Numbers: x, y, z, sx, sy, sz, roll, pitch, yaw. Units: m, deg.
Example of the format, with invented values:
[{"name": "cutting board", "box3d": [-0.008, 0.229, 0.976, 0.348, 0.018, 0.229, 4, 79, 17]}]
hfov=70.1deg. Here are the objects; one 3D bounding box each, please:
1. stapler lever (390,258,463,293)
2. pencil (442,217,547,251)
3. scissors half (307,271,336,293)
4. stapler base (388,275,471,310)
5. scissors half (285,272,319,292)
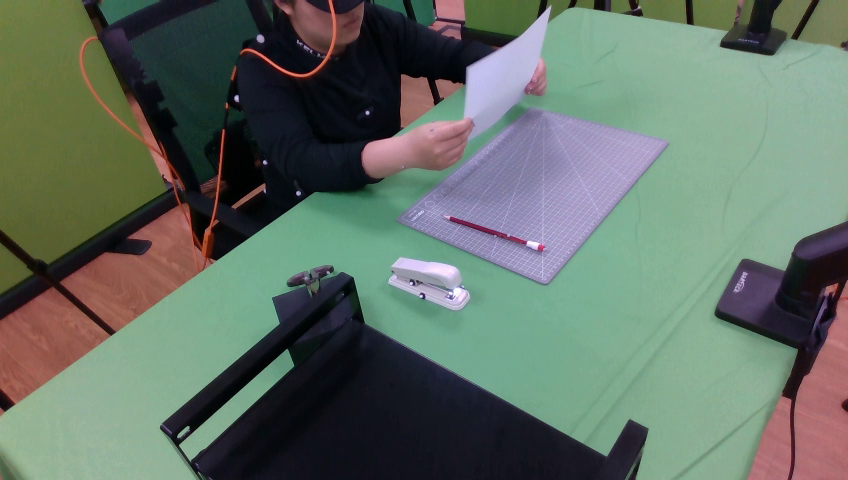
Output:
[{"name": "stapler lever", "box3d": [0.003, 0.046, 0.881, 0.117, 0.040, 0.027, 17, 43, 29]}, {"name": "pencil", "box3d": [0.110, -0.012, 0.980, 0.192, 0.012, 0.012, 18, 46, 30]}, {"name": "scissors half", "box3d": [-0.152, 0.061, 0.872, 0.040, 0.013, 0.175, -3, 6, -4]}, {"name": "stapler base", "box3d": [0.007, 0.066, 0.897, 0.129, 0.024, 0.041, 17, 43, 29]}, {"name": "scissors half", "box3d": [-0.172, 0.063, 0.868, 0.040, 0.013, 0.174, -10, 7, -21]}]
